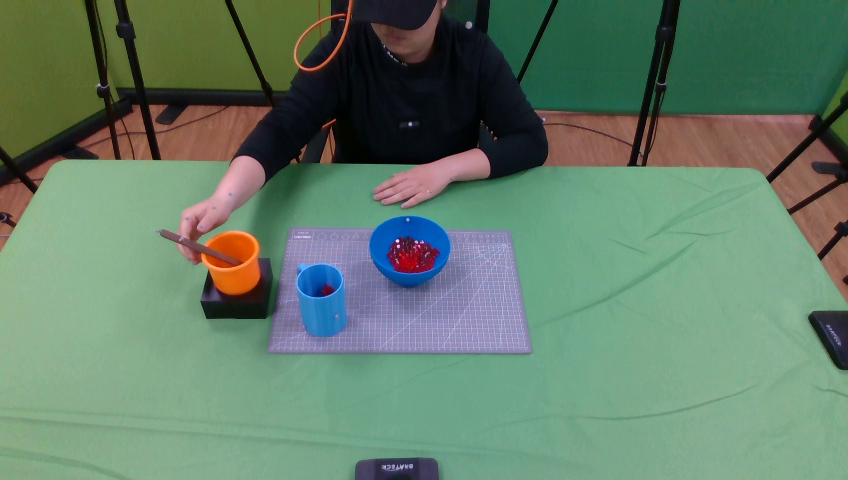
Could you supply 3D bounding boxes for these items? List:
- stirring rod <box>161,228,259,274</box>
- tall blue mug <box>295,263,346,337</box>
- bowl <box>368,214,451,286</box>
[{"bbox_3d":[-0.350,0.020,1.003,0.177,0.006,0.014,29,33,-38],"label":"stirring rod"},{"bbox_3d":[-0.187,0.096,1.027,0.107,0.108,0.077,21,49,16],"label":"tall blue mug"},{"bbox_3d":[-0.028,0.031,1.122,0.151,0.077,0.150,2,46,-2],"label":"bowl"}]
